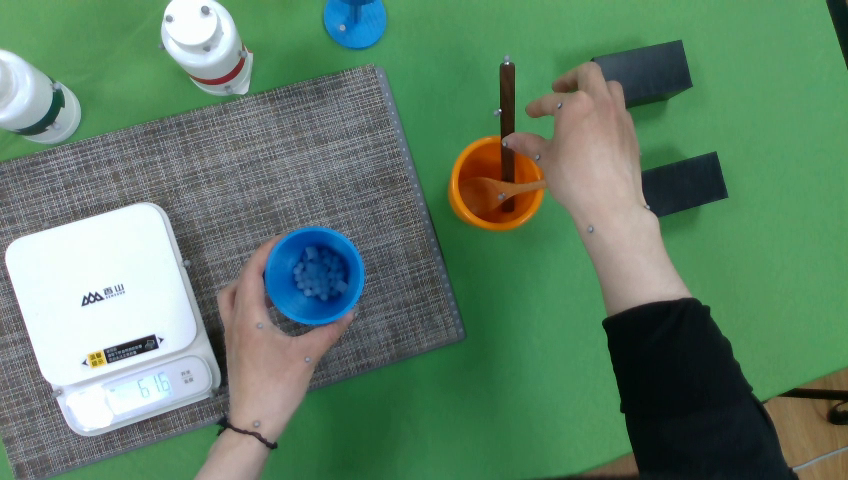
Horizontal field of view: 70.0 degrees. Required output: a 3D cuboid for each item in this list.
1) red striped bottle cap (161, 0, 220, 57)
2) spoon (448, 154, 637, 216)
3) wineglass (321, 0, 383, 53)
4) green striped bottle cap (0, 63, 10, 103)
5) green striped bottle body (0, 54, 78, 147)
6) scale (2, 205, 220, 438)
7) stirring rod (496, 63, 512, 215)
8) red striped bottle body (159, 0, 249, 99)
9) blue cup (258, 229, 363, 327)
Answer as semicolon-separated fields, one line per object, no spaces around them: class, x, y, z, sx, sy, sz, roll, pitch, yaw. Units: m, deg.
red striped bottle cap;-0.195;-0.177;0.504;0.044;0.018;0.044;1;85;-6
spoon;0.107;-0.053;0.581;0.021;0.193;0.042;-43;117;-48
wineglass;-0.065;-0.232;0.551;0.074;0.172;0.073;0;88;-7
green striped bottle cap;-0.355;-0.127;0.478;0.044;0.020;0.044;0;88;-6
green striped bottle body;-0.362;-0.123;0.534;0.063;0.119;0.063;0;88;-8
scale;-0.294;0.078;0.578;0.149;0.031;0.201;-18;91;-8
stirring rod;0.077;-0.088;0.578;0.014;0.178;0.005;-1;47;7
red striped bottle body;-0.202;-0.175;0.557;0.063;0.119;0.063;0;88;-8
blue cup;-0.101;0.035;0.570;0.093;0.100;0.092;0;88;-7
